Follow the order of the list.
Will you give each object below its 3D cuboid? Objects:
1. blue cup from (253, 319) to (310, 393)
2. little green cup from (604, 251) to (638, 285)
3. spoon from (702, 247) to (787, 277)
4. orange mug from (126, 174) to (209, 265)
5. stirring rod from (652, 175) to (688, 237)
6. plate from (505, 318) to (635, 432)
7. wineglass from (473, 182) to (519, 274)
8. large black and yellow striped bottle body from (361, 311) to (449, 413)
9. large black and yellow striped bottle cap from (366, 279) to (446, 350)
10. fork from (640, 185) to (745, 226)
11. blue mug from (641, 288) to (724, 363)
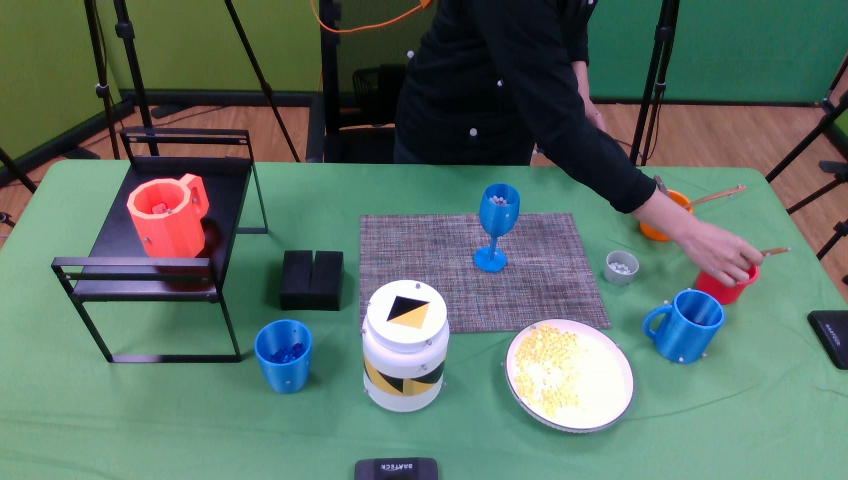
[{"bbox_3d":[-0.217,0.187,0.943,0.093,0.101,0.092,4,45,-3],"label":"blue cup"},{"bbox_3d":[0.375,0.055,1.161,0.061,0.039,0.061,2,45,-2],"label":"little green cup"},{"bbox_3d":[0.562,0.038,1.070,0.042,0.194,0.021,12,70,-9],"label":"spoon"},{"bbox_3d":[-0.371,-0.039,0.902,0.083,0.101,0.126,18,51,14],"label":"orange mug"},{"bbox_3d":[0.491,-0.071,1.212,0.014,0.006,0.175,0,47,-6],"label":"stirring rod"},{"bbox_3d":[0.235,0.221,0.991,0.209,0.038,0.208,2,45,-2],"label":"plate"},{"bbox_3d":[0.131,-0.022,1.117,0.074,0.173,0.073,2,46,-2],"label":"wineglass"},{"bbox_3d":[-0.031,0.163,0.924,0.131,0.185,0.130,2,46,-2],"label":"large black and yellow striped bottle body"},{"bbox_3d":[-0.025,0.104,0.864,0.115,0.019,0.114,3,48,-3],"label":"large black and yellow striped bottle cap"},{"bbox_3d":[0.534,-0.069,1.215,0.207,0.019,0.028,-26,27,33],"label":"fork"},{"bbox_3d":[0.432,0.144,1.033,0.116,0.106,0.082,8,46,5],"label":"blue mug"}]
